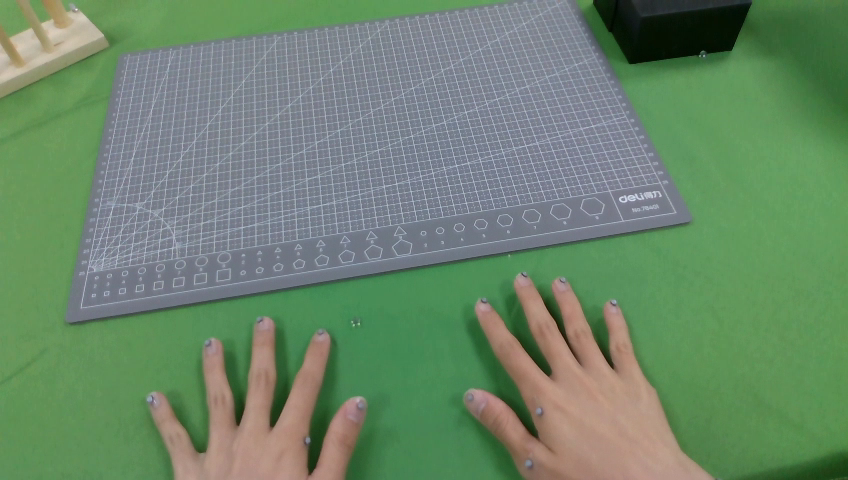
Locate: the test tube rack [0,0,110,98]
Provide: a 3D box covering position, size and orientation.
[{"bbox_3d":[-0.423,-0.167,0.534,0.242,0.086,0.066,-37,61,-21],"label":"test tube rack"}]
